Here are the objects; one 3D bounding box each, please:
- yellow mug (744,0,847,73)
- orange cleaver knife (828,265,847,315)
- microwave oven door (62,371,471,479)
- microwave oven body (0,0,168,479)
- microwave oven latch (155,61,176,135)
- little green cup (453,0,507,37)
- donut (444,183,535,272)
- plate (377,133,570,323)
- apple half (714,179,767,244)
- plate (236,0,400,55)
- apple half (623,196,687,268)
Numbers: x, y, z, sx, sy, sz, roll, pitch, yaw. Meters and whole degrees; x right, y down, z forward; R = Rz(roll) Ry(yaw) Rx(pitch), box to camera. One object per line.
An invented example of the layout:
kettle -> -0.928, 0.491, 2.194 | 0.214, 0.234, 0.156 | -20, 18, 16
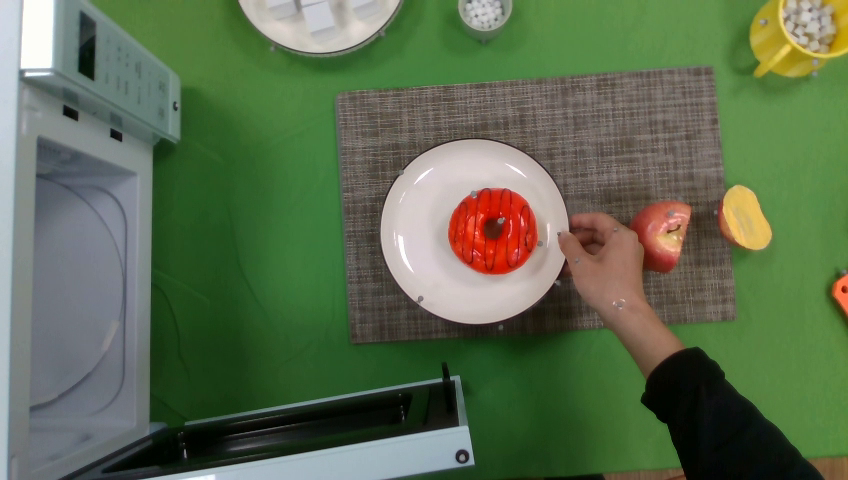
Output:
yellow mug -> 0.422, -0.241, 0.692 | 0.100, 0.064, 0.131 | 44, 90, 3
orange cleaver knife -> 0.530, 0.119, 0.693 | 0.077, 0.012, 0.211 | -19, 85, -5
microwave oven door -> -0.135, 0.189, 0.574 | 0.356, 0.244, 0.039 | -10, 86, 1
microwave oven body -> -0.450, 0.010, 0.595 | 0.326, 0.260, 0.441 | -1, 87, 1
microwave oven latch -> -0.303, -0.163, 0.697 | 0.030, 0.029, 0.079 | 0, 88, 1
little green cup -> 0.066, -0.272, 0.715 | 0.061, 0.038, 0.061 | 0, 86, 2
donut -> 0.071, -0.014, 0.656 | 0.099, 0.048, 0.098 | 0, 83, 1
plate -> 0.053, -0.013, 0.668 | 0.209, 0.038, 0.208 | 0, 82, 3
apple half -> 0.351, -0.027, 0.691 | 0.082, 0.033, 0.081 | 10, 68, -26
plate -> -0.123, -0.319, 0.721 | 0.207, 0.039, 0.207 | 0, 87, 1
apple half -> 0.251, -0.012, 0.676 | 0.053, 0.075, 0.081 | 15, 91, 6
